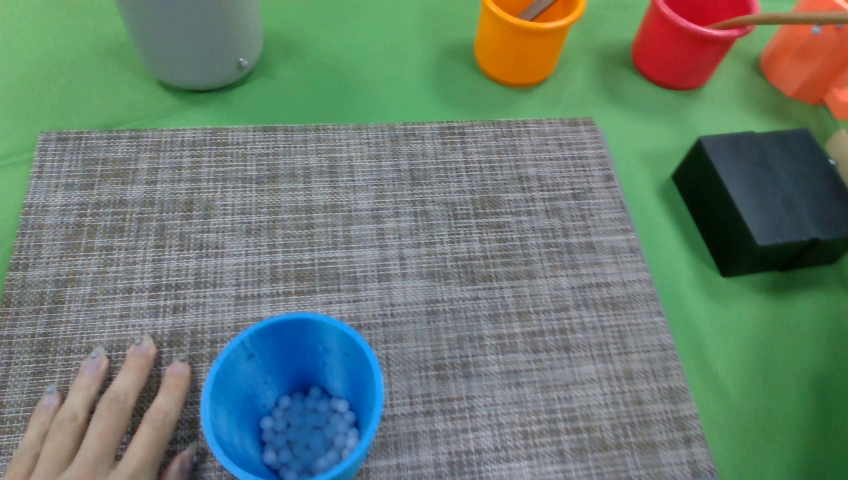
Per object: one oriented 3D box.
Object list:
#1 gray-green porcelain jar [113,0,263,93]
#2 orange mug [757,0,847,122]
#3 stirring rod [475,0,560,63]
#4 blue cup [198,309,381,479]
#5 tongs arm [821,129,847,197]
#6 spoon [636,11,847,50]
[{"bbox_3d":[-0.184,-0.189,0.474,0.106,0.127,0.105,3,59,-5],"label":"gray-green porcelain jar"},{"bbox_3d":[0.379,-0.174,0.550,0.083,0.101,0.125,-5,56,-10],"label":"orange mug"},{"bbox_3d":[0.115,-0.211,0.517,0.176,0.006,0.014,-35,65,22],"label":"stirring rod"},{"bbox_3d":[-0.066,0.098,0.329,0.093,0.101,0.092,2,59,-3],"label":"blue cup"},{"bbox_3d":[0.398,0.075,0.443,0.051,0.027,0.381,0,60,-13],"label":"tongs arm"},{"bbox_3d":[0.263,-0.179,0.513,0.041,0.022,0.192,-29,22,-24],"label":"spoon"}]
